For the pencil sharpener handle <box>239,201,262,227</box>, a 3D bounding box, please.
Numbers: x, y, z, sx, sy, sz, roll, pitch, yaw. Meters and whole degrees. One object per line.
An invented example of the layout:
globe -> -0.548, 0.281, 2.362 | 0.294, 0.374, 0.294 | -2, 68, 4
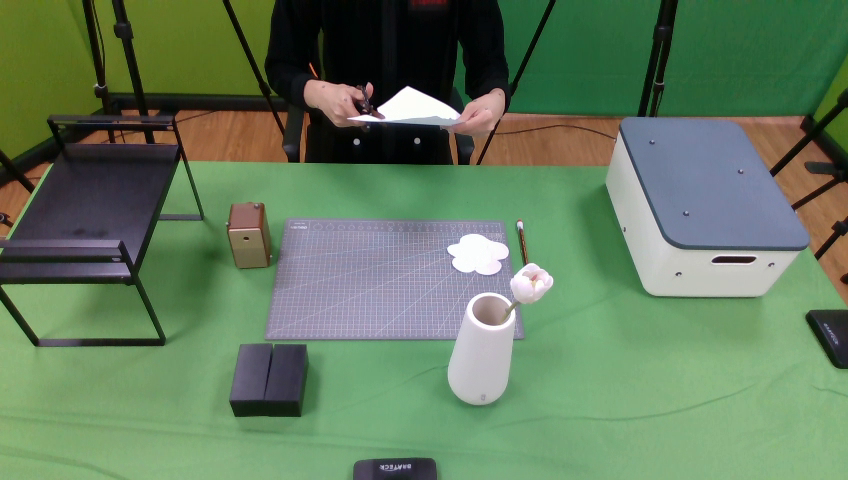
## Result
pencil sharpener handle -> -0.325, -0.055, 1.149 | 0.036, 0.068, 0.030 | -13, 46, 4

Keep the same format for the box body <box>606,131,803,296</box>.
box body -> 0.530, -0.067, 1.204 | 0.254, 0.161, 0.361 | 0, 46, -4

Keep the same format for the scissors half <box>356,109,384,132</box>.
scissors half -> -0.094, -0.214, 1.069 | 0.013, 0.040, 0.174 | -7, 9, -18

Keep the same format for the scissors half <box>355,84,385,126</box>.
scissors half -> -0.095, -0.234, 1.061 | 0.013, 0.040, 0.174 | -12, 38, -16

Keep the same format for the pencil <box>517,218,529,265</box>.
pencil -> 0.201, 0.028, 1.196 | 0.012, 0.012, 0.193 | 1, 48, -4

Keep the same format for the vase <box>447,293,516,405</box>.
vase -> 0.091, 0.169, 0.921 | 0.098, 0.201, 0.097 | 3, 47, -3

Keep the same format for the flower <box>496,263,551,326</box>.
flower -> 0.102, 0.120, 0.853 | 0.044, 0.363, 0.038 | -2, 64, -10

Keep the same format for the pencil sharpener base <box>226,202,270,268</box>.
pencil sharpener base -> -0.323, -0.010, 1.123 | 0.061, 0.107, 0.076 | -3, 46, -7

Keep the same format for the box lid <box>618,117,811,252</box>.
box lid -> 0.534, -0.117, 1.149 | 0.263, 0.015, 0.369 | 0, 47, -3
